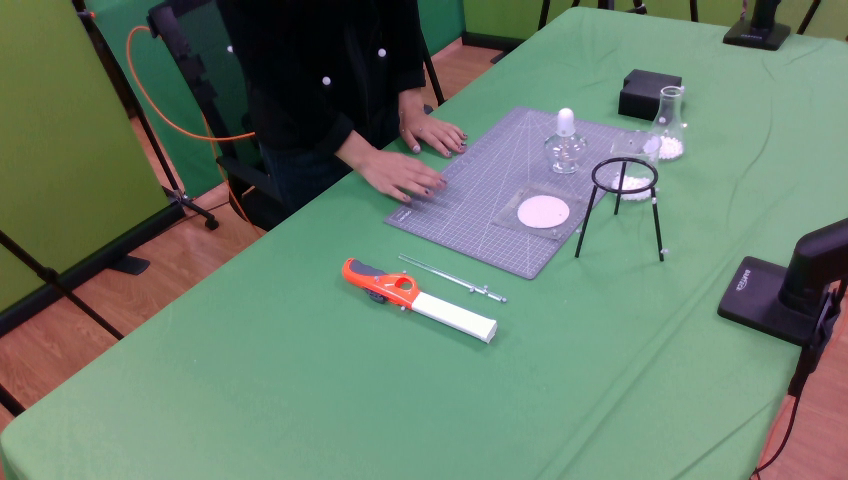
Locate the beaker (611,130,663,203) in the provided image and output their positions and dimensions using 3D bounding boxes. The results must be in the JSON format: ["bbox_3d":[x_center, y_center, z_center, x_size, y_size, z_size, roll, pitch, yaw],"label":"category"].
[{"bbox_3d":[0.346,-0.118,0.998,0.084,0.101,0.073,-17,40,-7],"label":"beaker"}]

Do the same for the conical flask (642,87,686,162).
[{"bbox_3d":[0.429,-0.206,1.067,0.075,0.122,0.075,-6,40,6],"label":"conical flask"}]

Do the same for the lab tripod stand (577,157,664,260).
[{"bbox_3d":[0.292,-0.047,0.897,0.148,0.132,0.147,-7,38,6],"label":"lab tripod stand"}]

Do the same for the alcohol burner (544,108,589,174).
[{"bbox_3d":[0.252,-0.178,1.071,0.078,0.120,0.077,-7,40,6],"label":"alcohol burner"}]

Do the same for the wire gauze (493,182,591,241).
[{"bbox_3d":[0.198,-0.048,1.011,0.120,0.011,0.125,20,50,31],"label":"wire gauze"}]

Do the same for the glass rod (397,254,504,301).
[{"bbox_3d":[0.036,0.054,0.922,0.198,0.008,0.008,22,50,31],"label":"glass rod"}]

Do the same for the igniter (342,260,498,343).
[{"bbox_3d":[-0.017,0.084,0.883,0.274,0.025,0.057,20,58,31],"label":"igniter"}]

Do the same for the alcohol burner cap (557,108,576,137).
[{"bbox_3d":[0.246,-0.205,1.047,0.034,0.048,0.033,-8,44,8],"label":"alcohol burner cap"}]
